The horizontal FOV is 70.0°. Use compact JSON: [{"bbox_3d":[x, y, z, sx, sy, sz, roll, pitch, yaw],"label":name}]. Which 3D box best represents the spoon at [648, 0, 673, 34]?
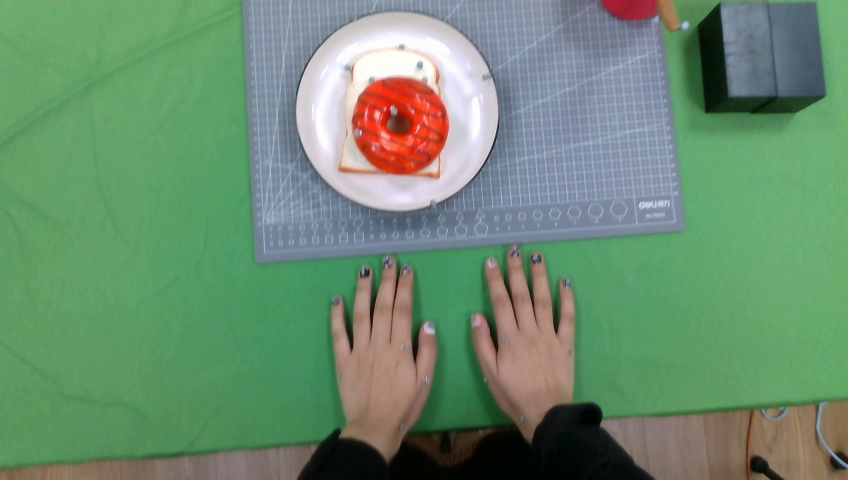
[{"bbox_3d":[0.218,-0.245,0.591,0.041,0.022,0.192,5,39,4],"label":"spoon"}]

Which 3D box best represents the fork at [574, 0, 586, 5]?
[{"bbox_3d":[0.182,-0.257,0.585,0.028,0.019,0.207,31,42,14],"label":"fork"}]

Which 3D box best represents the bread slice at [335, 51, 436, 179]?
[{"bbox_3d":[-0.038,-0.131,0.629,0.105,0.019,0.131,2,85,-2],"label":"bread slice"}]

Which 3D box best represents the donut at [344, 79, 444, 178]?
[{"bbox_3d":[-0.029,-0.110,0.598,0.099,0.048,0.099,0,88,-4],"label":"donut"}]

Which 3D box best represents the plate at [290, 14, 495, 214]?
[{"bbox_3d":[-0.031,-0.126,0.627,0.209,0.038,0.208,0,84,-2],"label":"plate"}]
